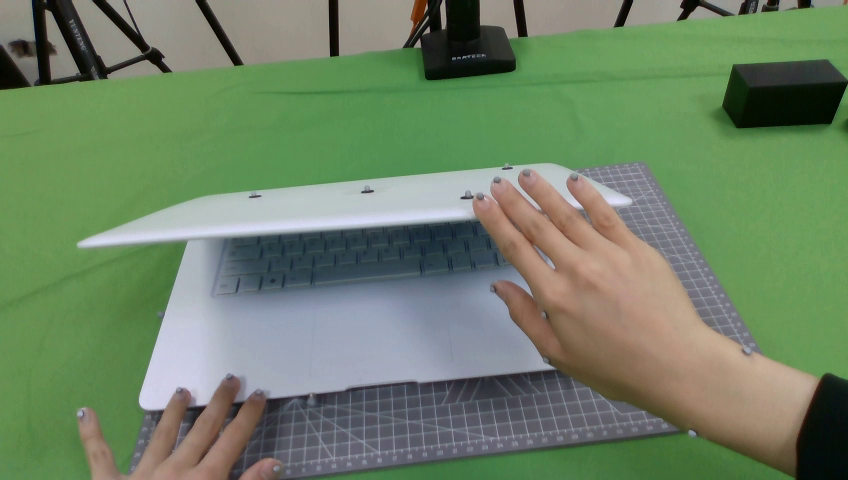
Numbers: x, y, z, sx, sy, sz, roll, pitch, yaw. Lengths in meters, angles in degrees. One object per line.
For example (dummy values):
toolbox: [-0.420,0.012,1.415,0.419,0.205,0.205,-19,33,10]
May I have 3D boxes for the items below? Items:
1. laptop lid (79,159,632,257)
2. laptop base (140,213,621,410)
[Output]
laptop lid: [-0.045,-0.035,0.485,0.357,0.013,0.240,-5,14,1]
laptop base: [-0.038,0.028,0.520,0.354,0.023,0.233,-6,46,0]
